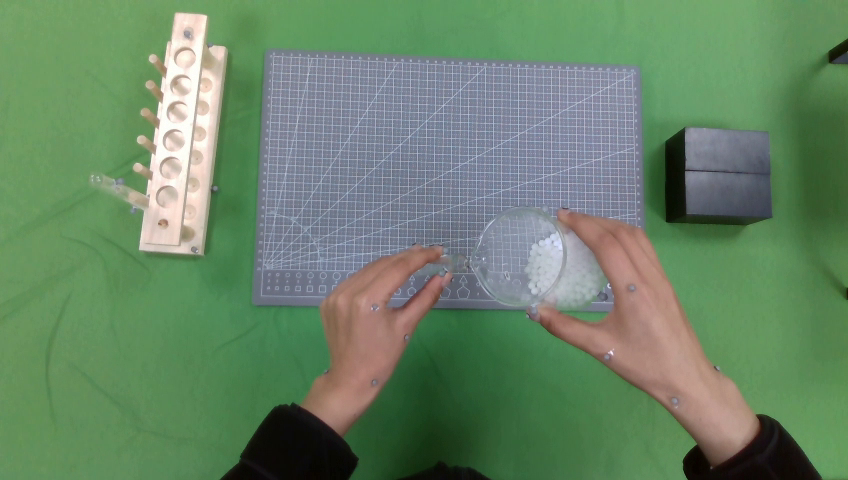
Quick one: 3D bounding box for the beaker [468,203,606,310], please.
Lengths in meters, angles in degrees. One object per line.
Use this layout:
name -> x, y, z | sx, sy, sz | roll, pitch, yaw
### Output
beaker -> 0.093, 0.018, 0.477 | 0.083, 0.101, 0.073 | -6, 78, 34

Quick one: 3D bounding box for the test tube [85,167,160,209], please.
test tube -> -0.292, -0.048, 0.595 | 0.017, 0.150, 0.017 | 0, 83, -4

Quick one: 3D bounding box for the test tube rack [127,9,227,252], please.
test tube rack -> -0.269, -0.114, 0.651 | 0.067, 0.085, 0.241 | 5, 82, -3

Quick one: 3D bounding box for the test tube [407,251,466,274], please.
test tube -> 0.008, 0.022, 0.552 | 0.017, 0.150, 0.017 | 1, 86, -15
